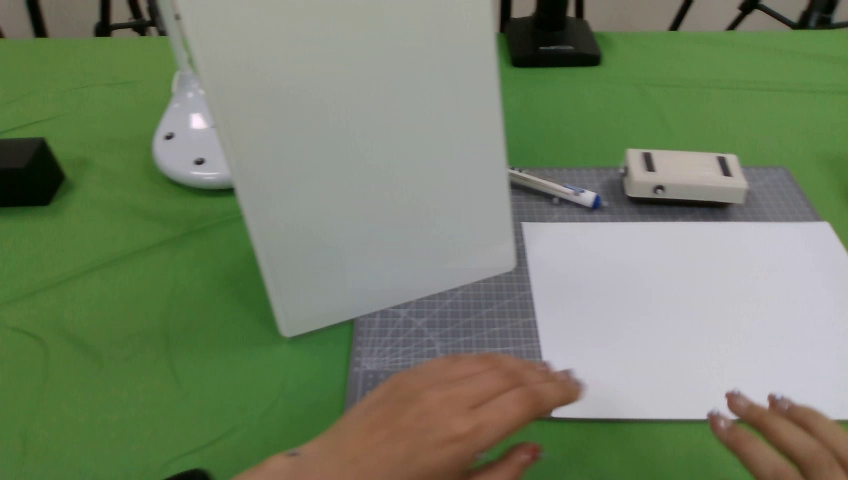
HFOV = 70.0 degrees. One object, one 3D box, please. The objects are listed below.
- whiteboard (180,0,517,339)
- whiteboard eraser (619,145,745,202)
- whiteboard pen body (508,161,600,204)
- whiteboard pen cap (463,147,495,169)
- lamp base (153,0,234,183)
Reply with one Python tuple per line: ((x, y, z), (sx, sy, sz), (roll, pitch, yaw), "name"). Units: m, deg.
((-0.058, -0.108, 0.513), (0.217, 0.308, 0.142), (-15, 28, -13), "whiteboard")
((0.257, -0.065, 0.610), (0.112, 0.042, 0.055), (3, 44, 4), "whiteboard eraser")
((0.112, -0.065, 0.623), (0.140, 0.017, 0.017), (21, 49, 15), "whiteboard pen body")
((0.059, -0.086, 0.640), (0.033, 0.018, 0.018), (20, 49, 13), "whiteboard pen cap")
((-0.229, -0.178, 0.630), (0.177, 0.182, 0.160), (31, 53, 30), "lamp base")
